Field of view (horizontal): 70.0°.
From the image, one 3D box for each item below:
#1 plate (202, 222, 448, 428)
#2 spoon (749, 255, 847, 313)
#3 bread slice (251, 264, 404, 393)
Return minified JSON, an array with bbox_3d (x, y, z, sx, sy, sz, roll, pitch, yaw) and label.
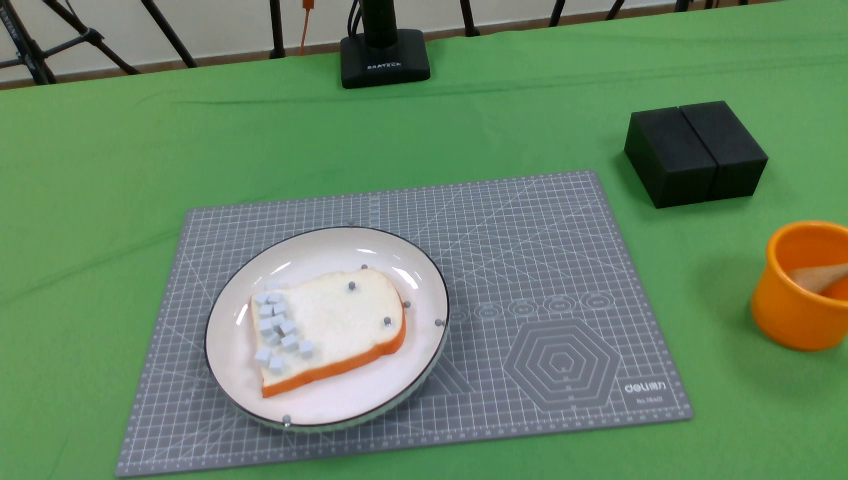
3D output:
[{"bbox_3d":[-0.082,0.070,0.526,0.209,0.038,0.207,-2,48,3],"label":"plate"},{"bbox_3d":[0.347,0.007,0.469,0.193,0.022,0.041,-31,35,33],"label":"spoon"},{"bbox_3d":[-0.085,0.068,0.533,0.132,0.019,0.103,-17,49,-9],"label":"bread slice"}]
